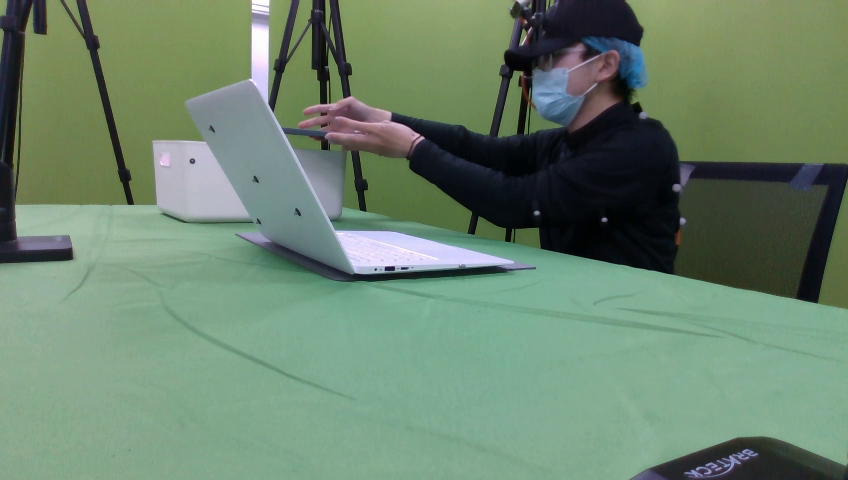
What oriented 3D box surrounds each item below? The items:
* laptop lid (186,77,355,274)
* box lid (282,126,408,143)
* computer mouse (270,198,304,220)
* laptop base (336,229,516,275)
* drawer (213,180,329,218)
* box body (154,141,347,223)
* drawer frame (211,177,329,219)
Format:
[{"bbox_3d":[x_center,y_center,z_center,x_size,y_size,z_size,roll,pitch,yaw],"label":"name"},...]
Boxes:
[{"bbox_3d":[-0.211,-0.081,0.772,0.013,0.242,0.355,-35,25,-23],"label":"laptop lid"},{"bbox_3d":[-0.239,-0.236,1.340,0.373,0.015,0.262,1,9,-21],"label":"box lid"},{"bbox_3d":[-0.318,-0.073,1.403,0.063,0.041,0.116,4,13,-24],"label":"computer mouse"},{"bbox_3d":[-0.065,0.014,0.877,0.237,0.023,0.352,2,7,-32],"label":"laptop base"},{"bbox_3d":[-0.348,-0.097,1.365,0.213,0.073,0.193,-1,10,-32],"label":"drawer"},{"bbox_3d":[-0.383,-0.132,1.347,0.366,0.160,0.253,-3,9,-36],"label":"box body"},{"bbox_3d":[-0.349,-0.098,1.365,0.215,0.082,0.200,-3,9,-32],"label":"drawer frame"}]
